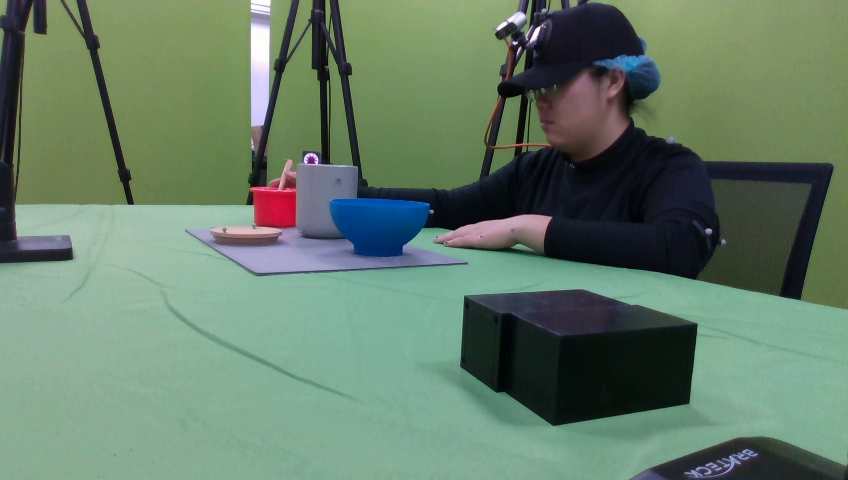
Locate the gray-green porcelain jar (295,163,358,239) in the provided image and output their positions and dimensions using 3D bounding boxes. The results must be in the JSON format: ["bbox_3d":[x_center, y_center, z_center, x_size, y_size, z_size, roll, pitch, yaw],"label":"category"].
[{"bbox_3d":[-0.170,-0.069,1.054,0.106,0.126,0.106,3,7,0],"label":"gray-green porcelain jar"}]

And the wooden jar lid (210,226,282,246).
[{"bbox_3d":[-0.279,-0.007,0.951,0.108,0.020,0.108,2,8,0],"label":"wooden jar lid"}]

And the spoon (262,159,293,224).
[{"bbox_3d":[-0.290,-0.102,1.227,0.041,0.021,0.193,4,51,2],"label":"spoon"}]

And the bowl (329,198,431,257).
[{"bbox_3d":[-0.067,-0.019,0.895,0.151,0.077,0.151,3,7,0],"label":"bowl"}]
